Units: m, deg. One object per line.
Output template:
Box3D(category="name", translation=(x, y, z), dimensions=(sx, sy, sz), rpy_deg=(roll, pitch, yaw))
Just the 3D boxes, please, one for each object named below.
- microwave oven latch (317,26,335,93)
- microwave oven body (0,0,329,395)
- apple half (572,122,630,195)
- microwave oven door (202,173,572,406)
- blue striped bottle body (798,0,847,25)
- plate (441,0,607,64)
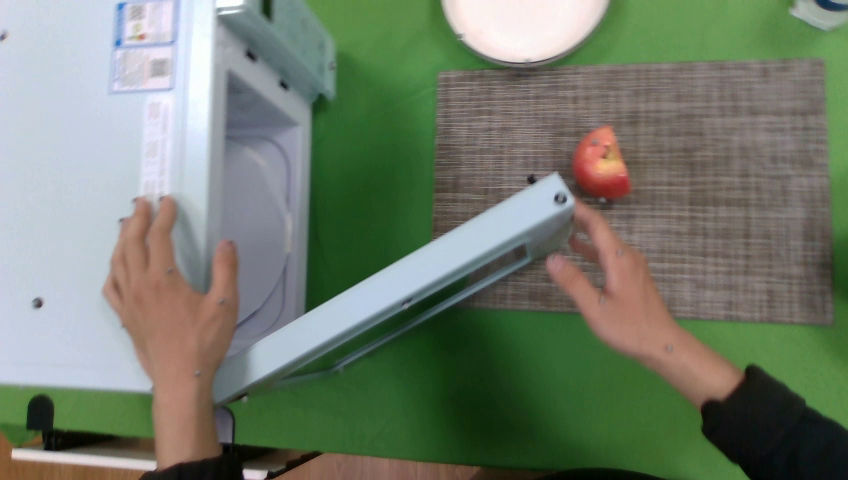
Box3D(category="microwave oven latch", translation=(-0.130, -0.230, 0.774), dimensions=(0.030, 0.029, 0.079), rpy_deg=(0, 84, 11))
Box3D(category="microwave oven body", translation=(-0.298, -0.066, 0.689), dimensions=(0.325, 0.261, 0.440), rpy_deg=(0, 84, 11))
Box3D(category="apple half", translation=(0.197, -0.087, 0.691), dimensions=(0.053, 0.075, 0.080), rpy_deg=(-19, 84, 14))
Box3D(category="microwave oven door", translation=(-0.015, 0.056, 0.616), dimensions=(0.356, 0.245, 0.039), rpy_deg=(-31, 78, 6))
Box3D(category="blue striped bottle body", translation=(0.453, -0.284, 0.642), dimensions=(0.063, 0.121, 0.063), rpy_deg=(-1, 82, 11))
Box3D(category="plate", translation=(0.125, -0.315, 0.753), dimensions=(0.207, 0.039, 0.207), rpy_deg=(-1, 84, 11))
